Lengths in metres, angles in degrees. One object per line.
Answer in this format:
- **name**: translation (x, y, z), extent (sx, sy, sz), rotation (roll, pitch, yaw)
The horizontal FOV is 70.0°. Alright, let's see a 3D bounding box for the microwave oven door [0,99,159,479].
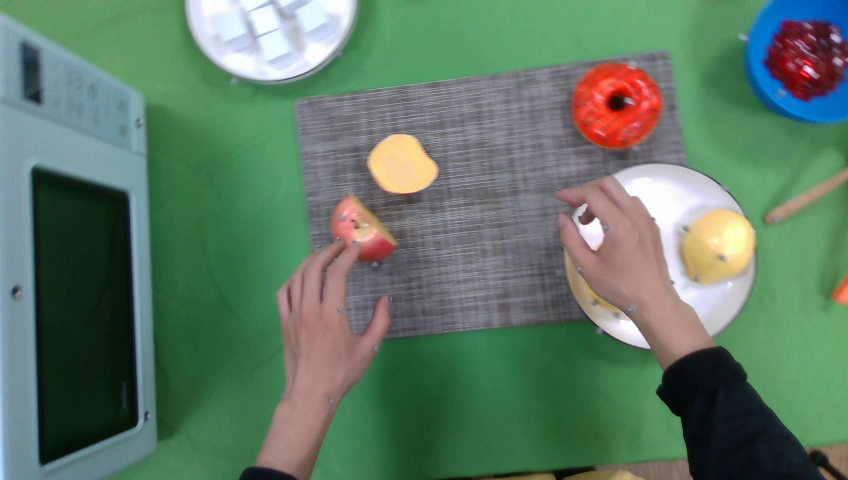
- **microwave oven door**: translation (-0.348, 0.065, 0.607), extent (0.039, 0.244, 0.355), rotation (-4, 87, 4)

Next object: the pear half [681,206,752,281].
- **pear half**: translation (0.317, 0.005, 0.666), extent (0.070, 0.031, 0.088), rotation (30, 101, 28)

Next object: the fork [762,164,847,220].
- **fork**: translation (0.464, -0.083, 0.653), extent (0.207, 0.018, 0.028), rotation (-37, 93, 22)

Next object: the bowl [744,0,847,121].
- **bowl**: translation (0.419, -0.198, 0.667), extent (0.151, 0.077, 0.151), rotation (0, 88, 4)

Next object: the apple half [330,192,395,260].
- **apple half**: translation (-0.076, -0.009, 0.691), extent (0.053, 0.074, 0.081), rotation (-42, 89, 5)

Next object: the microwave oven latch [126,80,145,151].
- **microwave oven latch**: translation (-0.351, -0.147, 0.719), extent (0.030, 0.029, 0.079), rotation (-2, 88, 4)

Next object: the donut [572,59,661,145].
- **donut**: translation (0.218, -0.157, 0.692), extent (0.099, 0.048, 0.099), rotation (0, 88, 7)

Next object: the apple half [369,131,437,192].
- **apple half**: translation (-0.029, -0.085, 0.707), extent (0.081, 0.033, 0.080), rotation (5, 68, -11)

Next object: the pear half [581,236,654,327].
- **pear half**: translation (0.224, 0.051, 0.671), extent (0.076, 0.056, 0.110), rotation (-34, 89, 7)

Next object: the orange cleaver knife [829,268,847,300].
- **orange cleaver knife**: translation (0.506, -0.028, 0.650), extent (0.012, 0.077, 0.212), rotation (30, 115, 10)

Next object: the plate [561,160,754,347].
- **plate**: translation (0.259, 0.015, 0.684), extent (0.209, 0.038, 0.209), rotation (0, 87, 4)

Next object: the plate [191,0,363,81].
- **plate**: translation (-0.174, -0.291, 0.733), extent (0.207, 0.039, 0.207), rotation (0, 87, 4)

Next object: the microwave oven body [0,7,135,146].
- **microwave oven body**: translation (-0.496, 0.032, 0.624), extent (0.326, 0.260, 0.441), rotation (-4, 87, 3)
